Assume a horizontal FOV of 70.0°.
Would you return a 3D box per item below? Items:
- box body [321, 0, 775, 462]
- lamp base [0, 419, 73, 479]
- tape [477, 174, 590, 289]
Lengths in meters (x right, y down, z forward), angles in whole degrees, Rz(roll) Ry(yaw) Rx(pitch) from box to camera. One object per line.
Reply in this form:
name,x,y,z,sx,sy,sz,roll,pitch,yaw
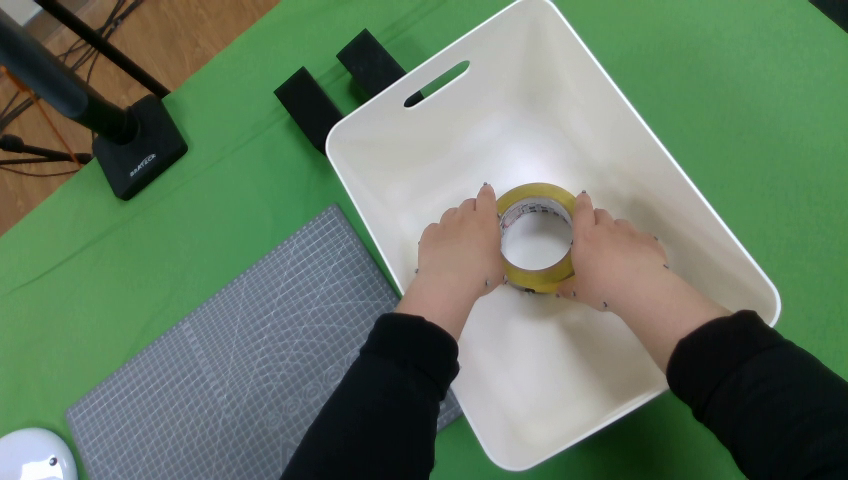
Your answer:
box body,0.102,-0.010,0.592,0.254,0.161,0.361,-32,70,6
lamp base,-0.546,0.291,0.697,0.178,0.181,0.160,1,77,19
tape,0.115,-0.008,0.640,0.116,0.053,0.116,-4,76,15
